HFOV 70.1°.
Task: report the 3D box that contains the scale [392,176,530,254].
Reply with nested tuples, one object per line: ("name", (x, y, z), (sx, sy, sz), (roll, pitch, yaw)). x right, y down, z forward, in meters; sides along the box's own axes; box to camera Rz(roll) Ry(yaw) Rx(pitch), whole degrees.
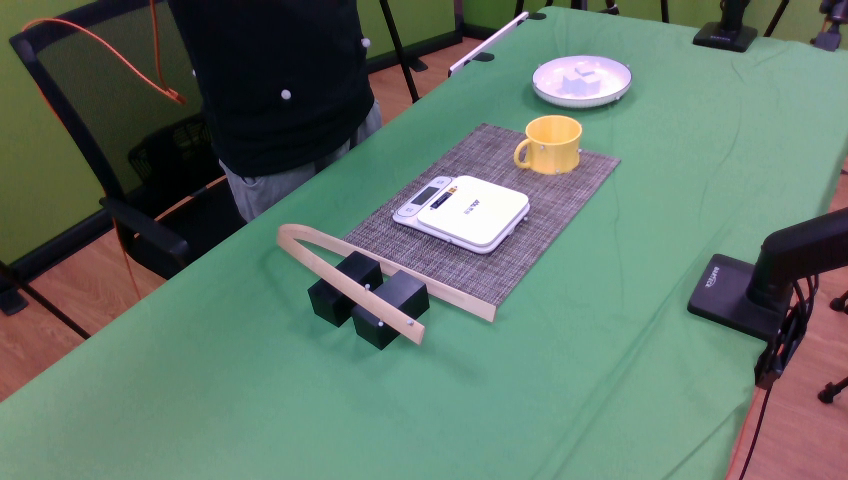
("scale", (0.060, -0.050, 1.006), (0.199, 0.032, 0.149), (22, 48, 30))

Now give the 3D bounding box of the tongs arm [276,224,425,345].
("tongs arm", (-0.115, 0.050, 0.857), (0.051, 0.026, 0.381), (-7, 24, -44))

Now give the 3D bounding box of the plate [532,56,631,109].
("plate", (0.336, -0.336, 1.301), (0.207, 0.039, 0.206), (-4, 41, 4))

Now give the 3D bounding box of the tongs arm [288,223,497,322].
("tongs arm", (-0.060, 0.043, 0.918), (0.384, 0.028, 0.028), (21, 24, 29))

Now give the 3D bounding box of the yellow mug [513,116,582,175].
("yellow mug", (0.220, -0.168, 1.093), (0.131, 0.064, 0.099), (-21, 42, -15))
